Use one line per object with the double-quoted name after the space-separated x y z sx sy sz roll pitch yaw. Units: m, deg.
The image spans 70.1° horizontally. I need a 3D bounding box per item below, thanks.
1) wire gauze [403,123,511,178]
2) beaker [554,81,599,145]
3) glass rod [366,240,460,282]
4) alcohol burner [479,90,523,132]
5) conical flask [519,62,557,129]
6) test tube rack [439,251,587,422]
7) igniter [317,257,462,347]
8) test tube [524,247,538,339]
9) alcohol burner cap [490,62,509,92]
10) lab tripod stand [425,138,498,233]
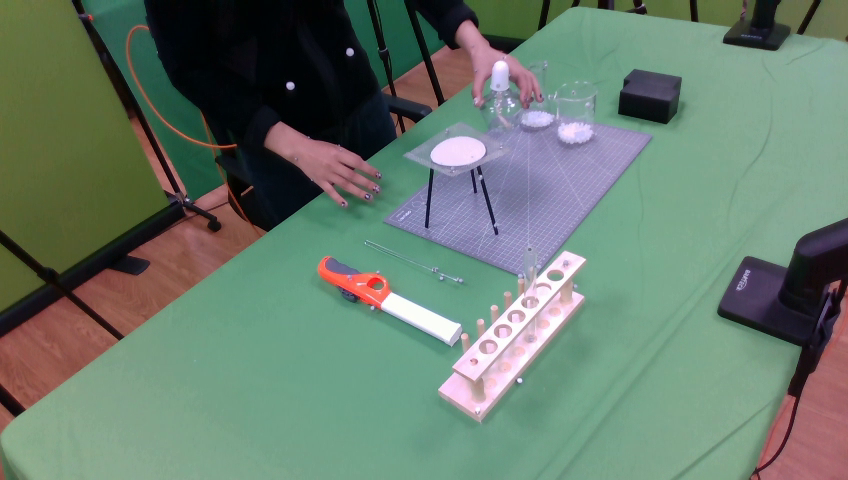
0.051 -0.140 0.943 0.125 0.011 0.120 -31 43 -25 "wire gauze"
0.286 -0.237 1.144 0.084 0.101 0.073 -17 40 -7 "beaker"
-0.022 0.032 0.961 0.198 0.008 0.008 21 49 35 "glass rod"
0.132 -0.249 1.045 0.078 0.119 0.077 -5 34 4 "alcohol burner"
0.225 -0.288 1.198 0.075 0.122 0.075 -6 40 5 "conical flask"
0.118 0.111 0.780 0.066 0.085 0.243 26 51 35 "test tube rack"
-0.061 0.086 0.891 0.274 0.025 0.057 23 59 33 "igniter"
0.133 0.070 0.749 0.017 0.151 0.017 -5 38 4 "test tube"
0.128 -0.277 1.022 0.034 0.048 0.033 -2 42 3 "alcohol burner cap"
0.063 -0.091 0.988 0.148 0.132 0.147 -6 38 6 "lab tripod stand"
